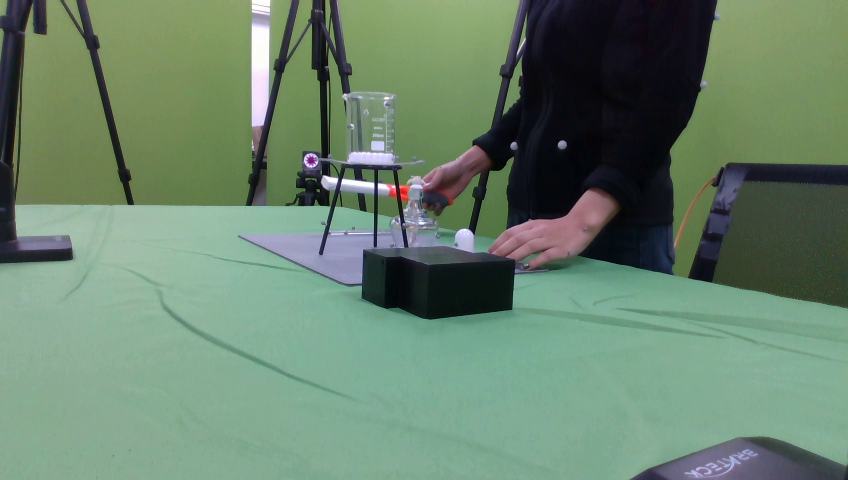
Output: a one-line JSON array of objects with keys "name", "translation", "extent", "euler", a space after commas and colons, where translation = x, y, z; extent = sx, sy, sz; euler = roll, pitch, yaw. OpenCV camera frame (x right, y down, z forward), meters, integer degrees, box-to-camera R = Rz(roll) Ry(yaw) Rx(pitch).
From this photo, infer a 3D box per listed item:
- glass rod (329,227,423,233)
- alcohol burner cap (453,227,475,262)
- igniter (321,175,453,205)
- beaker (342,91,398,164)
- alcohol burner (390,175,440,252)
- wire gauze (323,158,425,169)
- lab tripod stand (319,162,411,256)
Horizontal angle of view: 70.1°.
[{"name": "glass rod", "translation": [-0.087, -0.019, 1.148], "extent": [0.201, 0.008, 0.008], "euler": [-3, 8, -32]}, {"name": "alcohol burner cap", "translation": [0.058, 0.006, 0.872], "extent": [0.034, 0.048, 0.034], "euler": [3, 7, 0]}, {"name": "igniter", "translation": [-0.065, -0.096, 1.176], "extent": [0.278, 0.025, 0.057], "euler": [5, 28, -32]}, {"name": "beaker", "translation": [-0.079, -0.160, 0.867], "extent": [0.084, 0.100, 0.073], "euler": [-5, 10, -35]}, {"name": "alcohol burner", "translation": [-0.014, -0.041, 0.932], "extent": [0.078, 0.119, 0.078], "euler": [1, 9, 0]}, {"name": "wire gauze", "translation": [-0.080, -0.112, 0.869], "extent": [0.122, 0.011, 0.124], "euler": [-6, 12, -35]}, {"name": "lab tripod stand", "translation": [-0.081, -0.047, 0.879], "extent": [0.148, 0.131, 0.148], "euler": [2, 9, 0]}]
